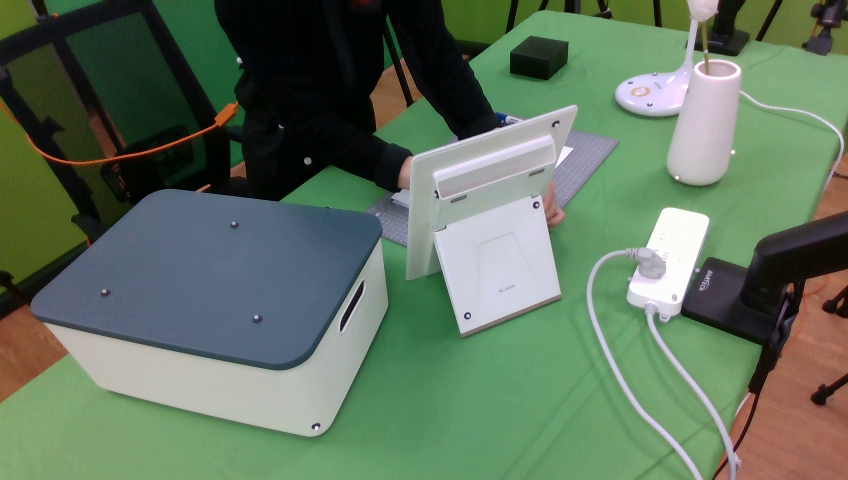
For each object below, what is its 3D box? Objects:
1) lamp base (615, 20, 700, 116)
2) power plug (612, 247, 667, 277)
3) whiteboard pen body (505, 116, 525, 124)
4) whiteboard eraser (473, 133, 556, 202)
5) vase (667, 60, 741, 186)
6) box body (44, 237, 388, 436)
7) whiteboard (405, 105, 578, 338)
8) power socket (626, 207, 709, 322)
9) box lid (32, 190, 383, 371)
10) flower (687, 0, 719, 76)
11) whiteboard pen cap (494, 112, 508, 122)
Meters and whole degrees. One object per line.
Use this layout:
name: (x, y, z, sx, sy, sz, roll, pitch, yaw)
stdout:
lamp base: (0.484, -0.364, 1.211, 0.180, 0.181, 0.159, -15, 41, -14)
power plug: (0.306, 0.031, 0.852, 0.072, 0.053, 0.035, 21, 48, 37)
whiteboard pen body: (0.203, -0.232, 1.213, 0.139, 0.017, 0.017, 27, 51, 36)
whiteboard eraser: (0.126, -0.094, 0.827, 0.112, 0.056, 0.041, -35, 66, 14)
vase: (0.463, -0.189, 0.994, 0.098, 0.201, 0.097, -4, 40, 4)
box body: (-0.251, 0.088, 0.799, 0.362, 0.161, 0.254, 7, 42, 16)
whiteboard: (0.102, 0.003, 0.787, 0.218, 0.306, 0.143, -19, 62, -14)
power socket: (0.360, 0.026, 0.886, 0.072, 0.033, 0.227, 17, 46, 27)
box lid: (-0.257, 0.032, 0.750, 0.370, 0.015, 0.263, 7, 41, 16)
flower: (0.436, -0.242, 0.934, 0.038, 0.364, 0.043, -24, 49, 8)
whiteboard pen cap: (0.161, -0.253, 1.248, 0.033, 0.018, 0.018, 29, 52, 36)
